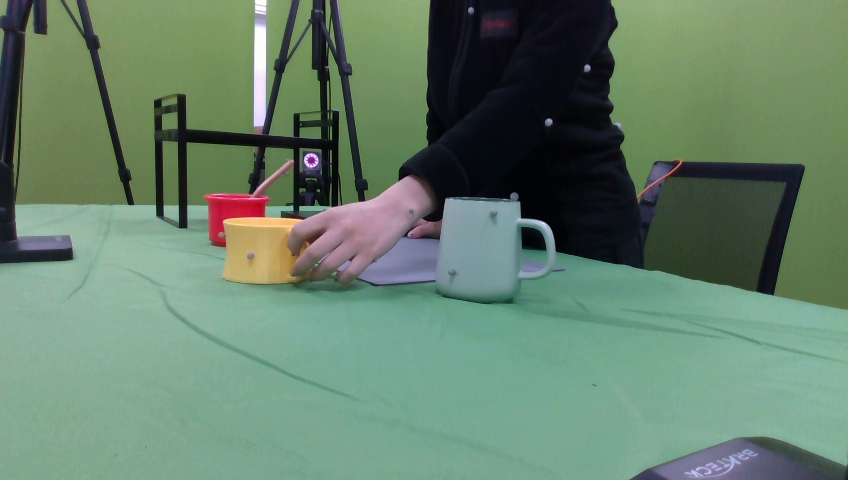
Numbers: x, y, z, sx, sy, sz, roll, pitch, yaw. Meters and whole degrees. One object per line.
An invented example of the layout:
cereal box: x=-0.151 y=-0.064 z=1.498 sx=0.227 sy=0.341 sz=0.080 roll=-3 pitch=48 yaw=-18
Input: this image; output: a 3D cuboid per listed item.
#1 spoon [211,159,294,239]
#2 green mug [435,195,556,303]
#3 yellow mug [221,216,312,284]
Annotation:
spoon: x=-0.270 y=-0.069 z=0.969 sx=0.041 sy=0.022 sz=0.194 roll=6 pitch=52 yaw=42
green mug: x=0.074 y=0.009 z=0.623 sx=0.125 sy=0.105 sz=0.093 roll=5 pitch=7 yaw=24
yellow mug: x=-0.170 y=0.011 z=0.686 sx=0.100 sy=0.064 sz=0.130 roll=-4 pitch=10 yaw=-44
